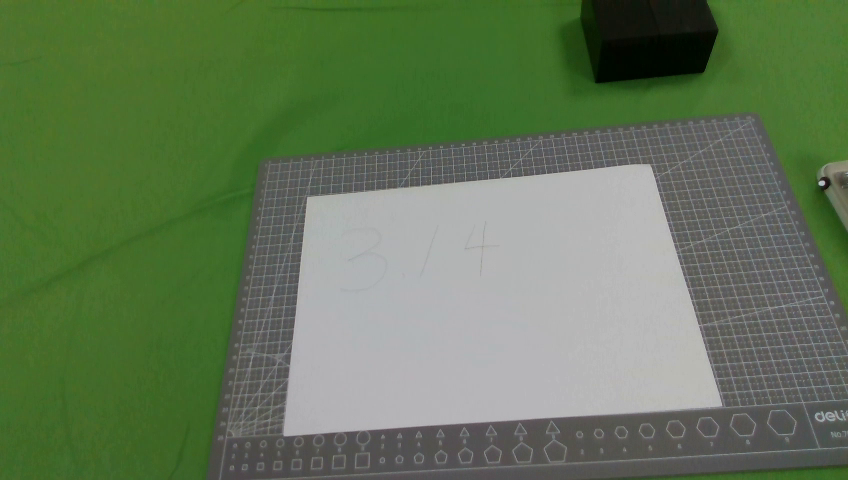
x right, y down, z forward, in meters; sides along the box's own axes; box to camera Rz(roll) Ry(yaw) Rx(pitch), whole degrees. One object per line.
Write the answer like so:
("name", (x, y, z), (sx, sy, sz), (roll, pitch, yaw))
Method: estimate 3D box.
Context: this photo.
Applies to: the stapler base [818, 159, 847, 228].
("stapler base", (0.343, -0.014, 0.452), (0.041, 0.024, 0.129), (-10, 59, 5))
